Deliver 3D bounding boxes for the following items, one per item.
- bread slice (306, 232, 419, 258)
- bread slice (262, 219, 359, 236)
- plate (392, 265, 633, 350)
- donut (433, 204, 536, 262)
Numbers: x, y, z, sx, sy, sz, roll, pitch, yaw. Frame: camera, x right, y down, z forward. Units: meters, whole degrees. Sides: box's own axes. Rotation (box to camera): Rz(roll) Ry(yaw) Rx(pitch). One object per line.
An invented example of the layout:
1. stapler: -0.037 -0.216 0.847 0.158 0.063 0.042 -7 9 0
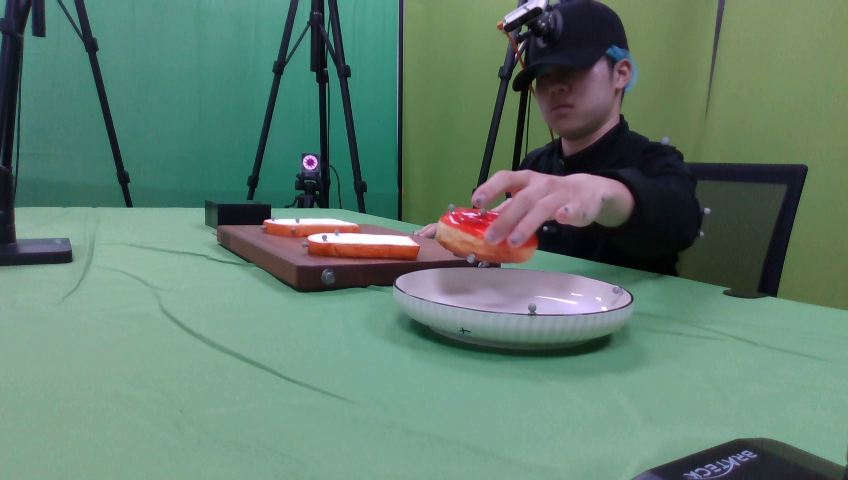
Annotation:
1. bread slice: -0.077 0.005 0.746 0.135 0.018 0.106 2 7 -12
2. bread slice: -0.179 -0.021 0.931 0.132 0.019 0.104 -1 7 -35
3. plate: 0.074 0.057 0.533 0.209 0.038 0.209 3 7 0
4. donut: 0.057 -0.006 0.575 0.099 0.048 0.099 12 9 -2
